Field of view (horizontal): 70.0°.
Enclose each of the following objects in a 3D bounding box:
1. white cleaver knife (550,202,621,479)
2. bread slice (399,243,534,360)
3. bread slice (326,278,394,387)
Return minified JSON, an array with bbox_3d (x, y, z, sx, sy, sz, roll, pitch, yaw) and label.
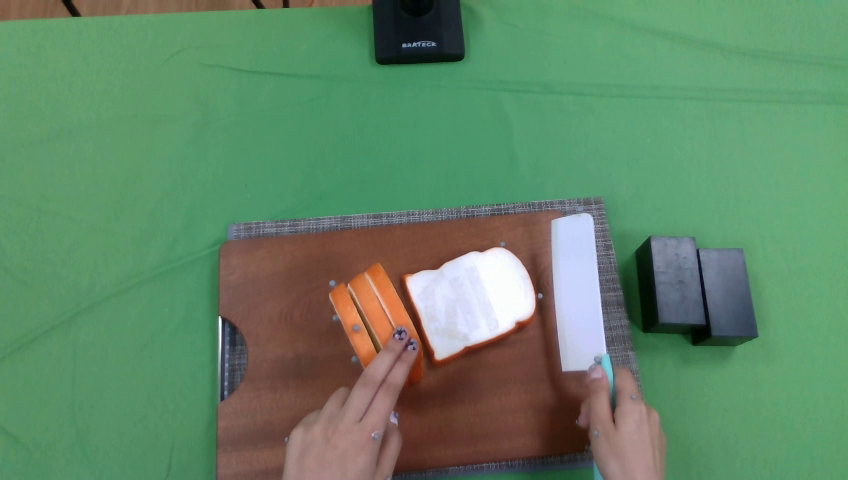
[{"bbox_3d":[0.161,0.102,0.614,0.022,0.065,0.285,9,72,-32],"label":"white cleaver knife"},{"bbox_3d":[0.051,0.061,0.660,0.134,0.018,0.106,-17,75,-3],"label":"bread slice"},{"bbox_3d":[-0.064,0.090,0.593,0.019,0.132,0.104,-27,72,-7],"label":"bread slice"}]
